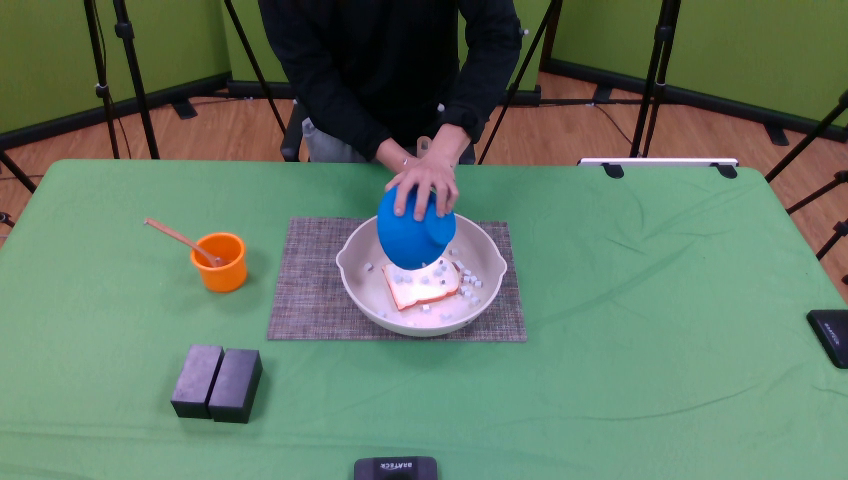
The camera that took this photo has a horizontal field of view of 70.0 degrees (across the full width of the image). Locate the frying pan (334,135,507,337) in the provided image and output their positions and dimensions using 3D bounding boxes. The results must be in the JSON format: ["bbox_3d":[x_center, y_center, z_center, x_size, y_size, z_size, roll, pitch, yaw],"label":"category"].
[{"bbox_3d":[-0.004,-0.026,1.160,0.307,0.103,0.485,4,55,-2],"label":"frying pan"}]

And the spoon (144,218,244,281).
[{"bbox_3d":[-0.401,0.015,1.064,0.195,0.021,0.041,41,36,-29],"label":"spoon"}]

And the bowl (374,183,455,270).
[{"bbox_3d":[-0.002,-0.027,1.007,0.076,0.152,0.151,-7,33,42],"label":"bowl"}]

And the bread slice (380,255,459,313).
[{"bbox_3d":[-0.004,0.075,1.119,0.134,0.018,0.106,-17,49,-16],"label":"bread slice"}]
